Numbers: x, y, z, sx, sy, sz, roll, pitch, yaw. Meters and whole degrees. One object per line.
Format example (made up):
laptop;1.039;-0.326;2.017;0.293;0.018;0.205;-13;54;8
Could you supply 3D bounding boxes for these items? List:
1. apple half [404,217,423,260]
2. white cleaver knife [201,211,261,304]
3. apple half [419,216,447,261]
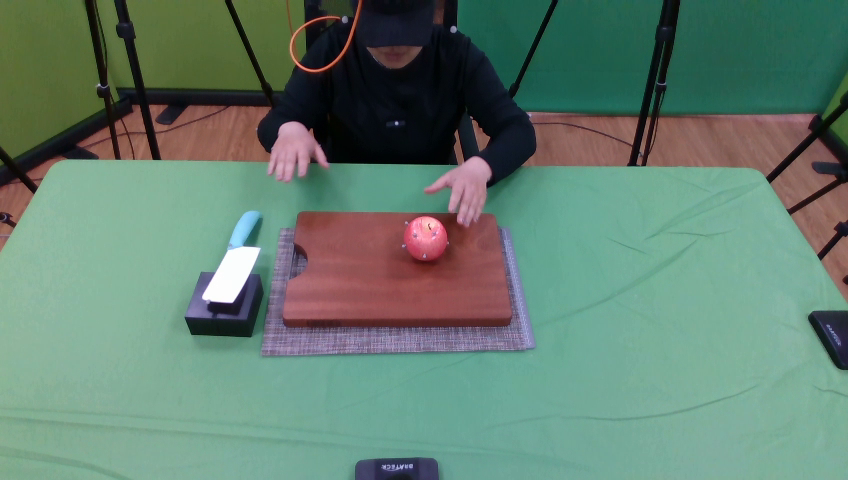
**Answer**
apple half;-0.022;-0.002;1.121;0.033;0.081;0.081;3;46;-7
white cleaver knife;-0.336;0.029;1.110;0.066;0.021;0.285;6;34;-3
apple half;0.016;0.000;1.125;0.053;0.075;0.080;4;43;-6
